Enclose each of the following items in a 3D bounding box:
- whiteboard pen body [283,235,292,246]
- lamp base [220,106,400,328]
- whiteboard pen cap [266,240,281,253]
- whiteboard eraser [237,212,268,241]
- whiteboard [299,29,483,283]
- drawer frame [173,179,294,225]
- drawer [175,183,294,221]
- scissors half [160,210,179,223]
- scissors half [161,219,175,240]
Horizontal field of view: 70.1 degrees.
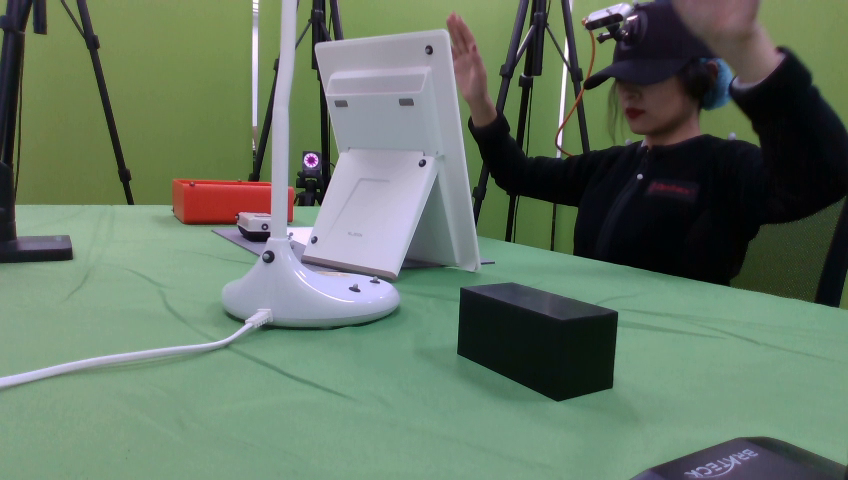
[{"bbox_3d":[-0.206,0.005,0.872,0.017,0.017,0.140,2,4,-6],"label":"whiteboard pen body"},{"bbox_3d":[-0.101,-0.023,0.531,0.160,0.180,0.179,4,10,10],"label":"lamp base"},{"bbox_3d":[-0.202,0.009,0.813,0.018,0.018,0.033,1,3,-8],"label":"whiteboard pen cap"},{"bbox_3d":[-0.272,-0.023,0.998,0.056,0.042,0.112,-3,9,-26],"label":"whiteboard eraser"},{"bbox_3d":[-0.074,-0.082,0.742,0.216,0.305,0.144,9,29,38],"label":"whiteboard"},{"bbox_3d":[-0.404,-0.083,1.277,0.215,0.082,0.200,-2,9,-29],"label":"drawer frame"},{"bbox_3d":[-0.402,-0.082,1.279,0.213,0.073,0.193,-2,10,-28],"label":"drawer"},{"bbox_3d":[-0.506,-0.066,1.256,0.013,0.040,0.175,3,22,4],"label":"scissors half"},{"bbox_3d":[-0.507,-0.055,1.262,0.013,0.040,0.175,10,39,2],"label":"scissors half"}]
